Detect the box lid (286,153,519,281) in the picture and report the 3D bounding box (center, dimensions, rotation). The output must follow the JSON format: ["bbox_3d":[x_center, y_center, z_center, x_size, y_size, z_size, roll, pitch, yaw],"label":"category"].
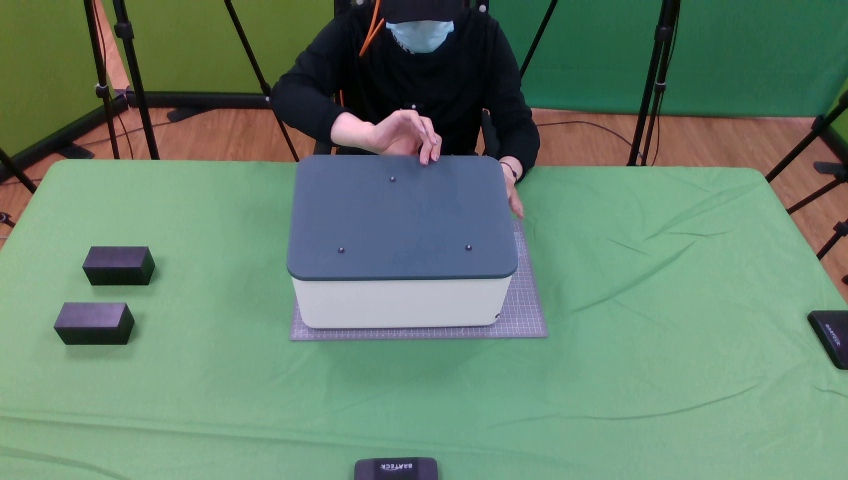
[{"bbox_3d":[-0.034,-0.046,1.008,0.372,0.015,0.261,-1,55,-4],"label":"box lid"}]

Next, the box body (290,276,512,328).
[{"bbox_3d":[-0.040,0.015,1.075,0.364,0.161,0.252,-1,47,-4],"label":"box body"}]
